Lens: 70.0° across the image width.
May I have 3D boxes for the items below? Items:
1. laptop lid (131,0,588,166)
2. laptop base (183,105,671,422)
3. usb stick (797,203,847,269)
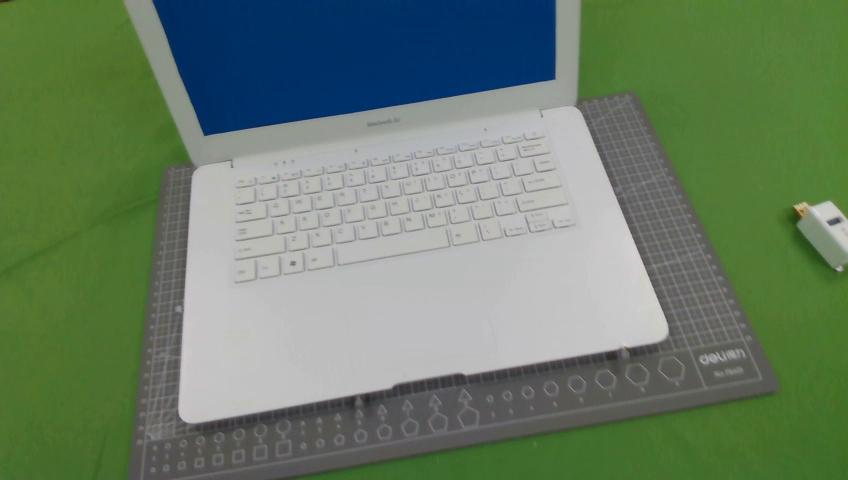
[{"bbox_3d":[-0.043,-0.182,0.480,0.357,0.244,0.013,-11,39,0],"label":"laptop lid"},{"bbox_3d":[-0.012,0.005,0.491,0.354,0.023,0.233,-9,60,-1],"label":"laptop base"},{"bbox_3d":[0.314,-0.009,0.467,0.021,0.027,0.058,-18,55,-5],"label":"usb stick"}]
